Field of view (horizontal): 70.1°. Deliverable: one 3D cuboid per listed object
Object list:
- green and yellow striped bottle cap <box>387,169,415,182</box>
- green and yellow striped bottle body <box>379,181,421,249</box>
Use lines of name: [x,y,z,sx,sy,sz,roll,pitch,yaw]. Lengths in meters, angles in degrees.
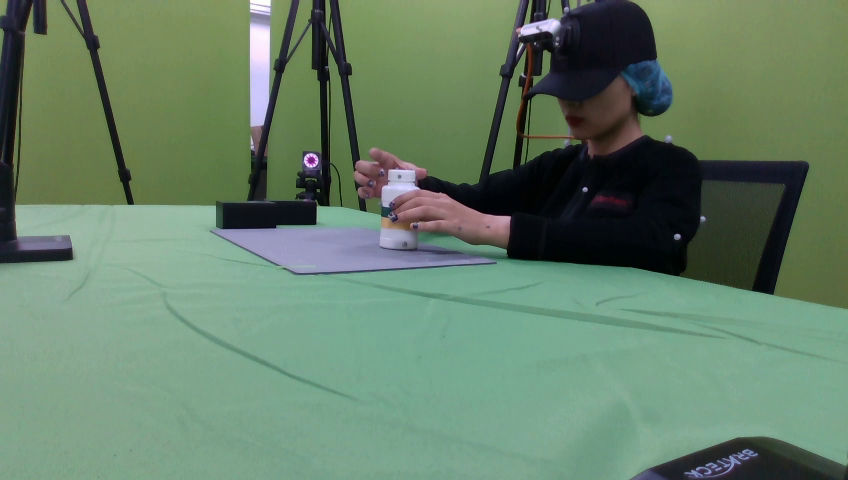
green and yellow striped bottle cap: [-0.035,-0.102,0.952,0.045,0.020,0.045,2,6,0]
green and yellow striped bottle body: [-0.038,-0.048,0.959,0.063,0.119,0.063,3,7,0]
